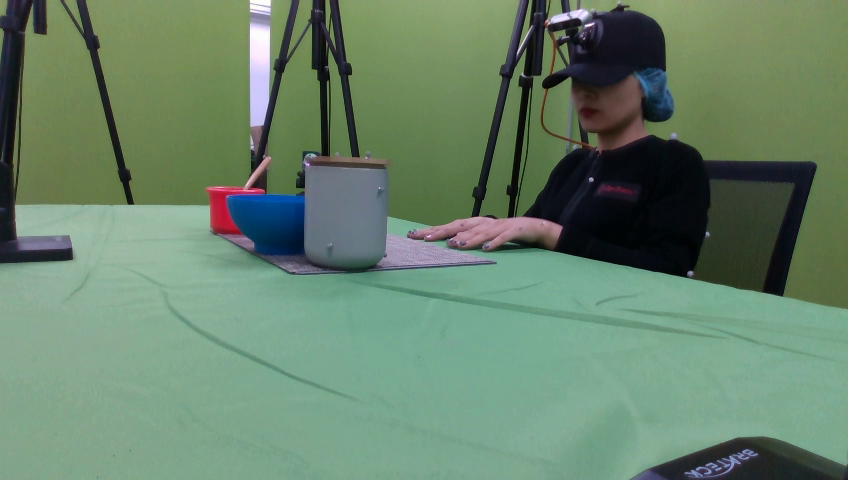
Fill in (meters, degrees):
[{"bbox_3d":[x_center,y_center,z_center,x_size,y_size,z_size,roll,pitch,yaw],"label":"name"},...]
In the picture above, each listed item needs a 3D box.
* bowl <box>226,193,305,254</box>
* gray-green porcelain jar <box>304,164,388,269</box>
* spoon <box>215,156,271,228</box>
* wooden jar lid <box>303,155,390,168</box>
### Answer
[{"bbox_3d":[-0.205,-0.024,0.866,0.151,0.077,0.151,3,7,0],"label":"bowl"},{"bbox_3d":[-0.099,-0.031,0.770,0.106,0.126,0.106,2,7,0],"label":"gray-green porcelain jar"},{"bbox_3d":[-0.319,-0.090,1.091,0.041,0.022,0.193,7,52,17],"label":"spoon"},{"bbox_3d":[-0.097,-0.095,0.761,0.108,0.020,0.108,1,7,0],"label":"wooden jar lid"}]
